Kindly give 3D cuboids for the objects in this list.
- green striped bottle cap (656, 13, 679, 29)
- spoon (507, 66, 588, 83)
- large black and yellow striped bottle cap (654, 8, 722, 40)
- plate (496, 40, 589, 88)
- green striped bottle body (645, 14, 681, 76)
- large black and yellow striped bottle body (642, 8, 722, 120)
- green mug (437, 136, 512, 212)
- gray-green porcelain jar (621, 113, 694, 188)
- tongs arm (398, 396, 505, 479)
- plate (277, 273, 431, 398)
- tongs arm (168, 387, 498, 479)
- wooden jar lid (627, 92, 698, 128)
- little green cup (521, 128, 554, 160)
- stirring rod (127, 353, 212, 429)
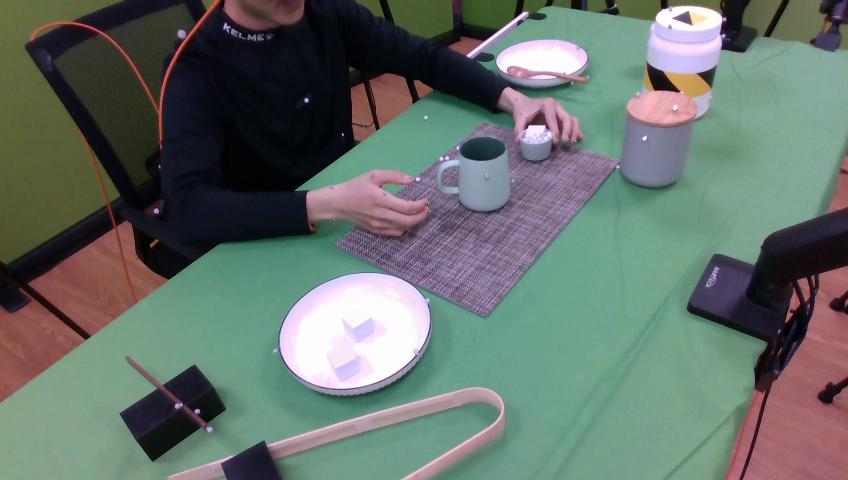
[{"bbox_3d":[0.515,-0.463,1.278,0.044,0.020,0.044,-6,42,6],"label":"green striped bottle cap"},{"bbox_3d":[0.265,-0.357,1.311,0.192,0.022,0.042,18,47,38],"label":"spoon"},{"bbox_3d":[0.483,-0.397,1.108,0.115,0.019,0.114,-3,41,3],"label":"large black and yellow striped bottle cap"},{"bbox_3d":[0.269,-0.398,1.381,0.209,0.038,0.208,-4,41,4],"label":"plate"},{"bbox_3d":[0.520,-0.424,1.312,0.063,0.120,0.063,-4,41,4],"label":"green striped bottle body"},{"bbox_3d":[0.493,-0.334,1.161,0.131,0.185,0.130,-4,41,4],"label":"large black and yellow striped bottle body"},{"bbox_3d":[0.084,-0.107,1.013,0.125,0.105,0.092,-9,41,-2],"label":"green mug"},{"bbox_3d":[0.390,-0.161,1.020,0.106,0.127,0.105,-4,41,4],"label":"gray-green porcelain jar"},{"bbox_3d":[-0.071,0.272,0.652,0.386,0.026,0.050,-21,37,-17],"label":"tongs arm"},{"bbox_3d":[-0.091,0.129,0.821,0.207,0.039,0.206,-4,40,4],"label":"plate"},{"bbox_3d":[-0.100,0.230,0.711,0.388,0.028,0.028,-13,32,-7],"label":"tongs arm"},{"bbox_3d":[0.384,-0.207,0.980,0.108,0.021,0.108,-6,39,5],"label":"wooden jar lid"},{"bbox_3d":[0.210,-0.177,1.121,0.061,0.039,0.061,-5,41,5],"label":"little green cup"},{"bbox_3d":[-0.311,0.180,0.731,0.175,0.014,0.006,25,53,31],"label":"stirring rod"}]
